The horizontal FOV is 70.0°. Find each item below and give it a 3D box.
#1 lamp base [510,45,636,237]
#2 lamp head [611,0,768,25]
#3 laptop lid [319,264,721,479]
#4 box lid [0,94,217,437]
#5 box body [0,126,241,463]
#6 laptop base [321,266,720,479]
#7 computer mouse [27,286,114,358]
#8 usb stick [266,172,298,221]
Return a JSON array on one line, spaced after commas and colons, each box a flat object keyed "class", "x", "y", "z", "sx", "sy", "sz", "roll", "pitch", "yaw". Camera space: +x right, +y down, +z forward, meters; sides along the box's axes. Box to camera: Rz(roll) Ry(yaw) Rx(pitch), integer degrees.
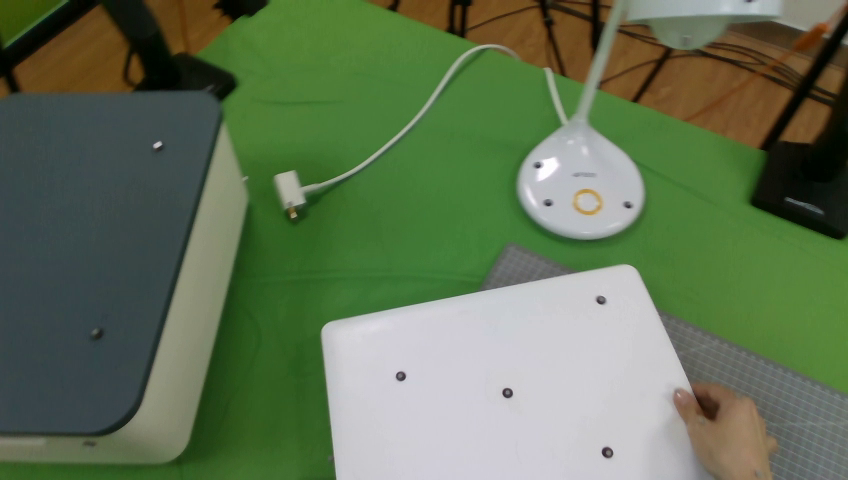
[{"class": "lamp base", "x": 0.187, "y": -0.123, "z": 0.721, "sx": 0.161, "sy": 0.182, "sz": 0.177, "roll": -9, "pitch": 55, "yaw": -5}, {"class": "lamp head", "x": 0.200, "y": -0.225, "z": 0.455, "sx": 0.112, "sy": 0.112, "sz": 0.123, "roll": -2, "pitch": 101, "yaw": -1}, {"class": "laptop lid", "x": 0.081, "y": 0.151, "z": 0.597, "sx": 0.357, "sy": 0.013, "sz": 0.239, "roll": -9, "pitch": 58, "yaw": -3}, {"class": "box lid", "x": -0.357, "y": -0.003, "z": 0.573, "sx": 0.263, "sy": 0.015, "sz": 0.368, "roll": 1, "pitch": 59, "yaw": 1}, {"class": "box body", "x": -0.356, "y": 0.039, "z": 0.634, "sx": 0.254, "sy": 0.162, "sz": 0.360, "roll": 1, "pitch": 58, "yaw": 1}, {"class": "laptop base", "x": 0.081, "y": 0.157, "z": 0.608, "sx": 0.355, "sy": 0.023, "sz": 0.233, "roll": -11, "pitch": 59, "yaw": -4}, {"class": "computer mouse", "x": -0.387, "y": 0.082, "z": 0.666, "sx": 0.063, "sy": 0.041, "sz": 0.116, "roll": -26, "pitch": 20, "yaw": -4}, {"class": "usb stick", "x": -0.178, "y": -0.054, "z": 0.766, "sx": 0.027, "sy": 0.021, "sz": 0.059, "roll": -16, "pitch": 89, "yaw": -26}]
